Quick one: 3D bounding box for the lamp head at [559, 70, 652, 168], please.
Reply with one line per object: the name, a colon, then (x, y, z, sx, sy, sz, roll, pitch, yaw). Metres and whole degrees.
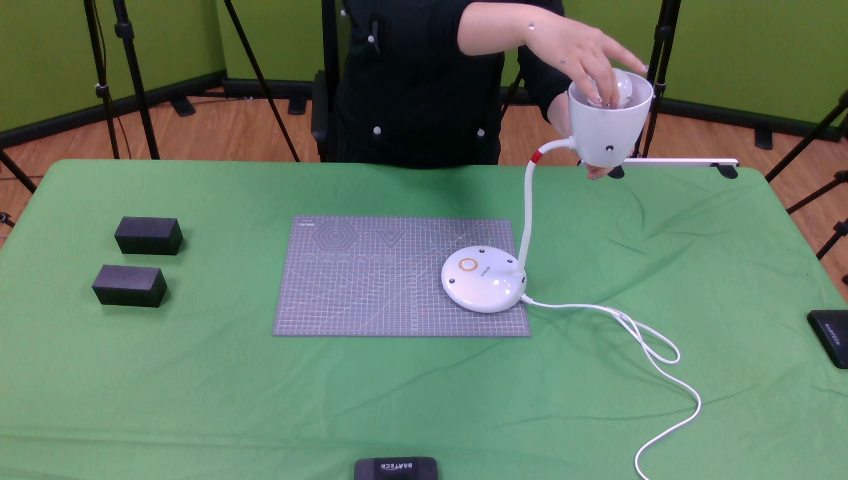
lamp head: (0.252, -0.164, 0.860, 0.112, 0.123, 0.111, 0, 42, 0)

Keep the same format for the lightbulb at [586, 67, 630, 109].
lightbulb: (0.255, -0.187, 0.847, 0.059, 0.108, 0.059, -3, 33, 2)

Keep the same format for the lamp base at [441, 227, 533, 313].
lamp base: (0.126, 0.022, 1.071, 0.179, 0.181, 0.160, 23, 49, 14)
